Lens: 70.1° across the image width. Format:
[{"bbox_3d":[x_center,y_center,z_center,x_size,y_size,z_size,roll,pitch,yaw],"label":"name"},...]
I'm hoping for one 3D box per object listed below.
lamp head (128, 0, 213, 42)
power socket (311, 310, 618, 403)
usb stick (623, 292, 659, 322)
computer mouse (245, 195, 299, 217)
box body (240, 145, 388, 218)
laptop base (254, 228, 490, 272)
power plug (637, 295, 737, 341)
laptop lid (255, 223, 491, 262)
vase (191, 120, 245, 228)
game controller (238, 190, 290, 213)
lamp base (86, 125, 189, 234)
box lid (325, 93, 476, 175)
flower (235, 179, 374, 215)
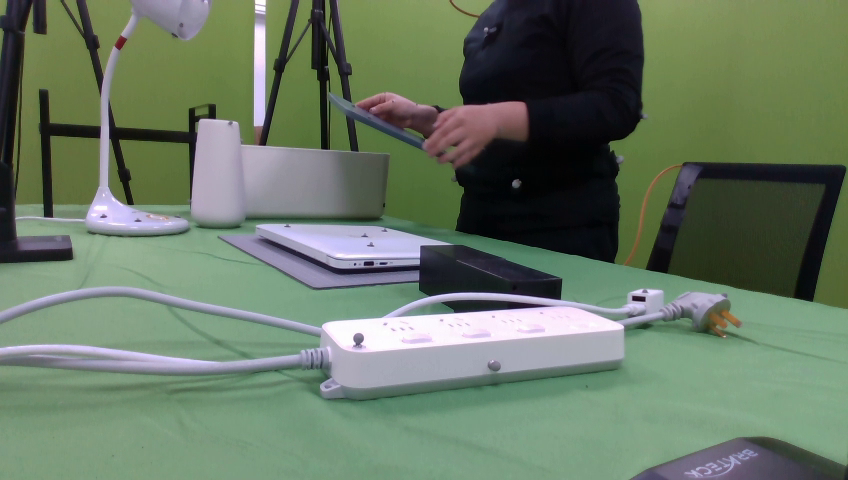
[{"bbox_3d":[-0.423,-0.394,0.980,0.123,0.112,0.112,20,7,-3],"label":"lamp head"},{"bbox_3d":[0.034,0.074,0.415,0.228,0.032,0.072,-1,7,-24],"label":"power socket"},{"bbox_3d":[0.211,0.064,0.581,0.021,0.027,0.059,0,-3,36],"label":"usb stick"},{"bbox_3d":[-0.345,-0.078,1.370,0.118,0.041,0.062,-13,18,-32],"label":"computer mouse"},{"bbox_3d":[-0.297,-0.143,1.474,0.366,0.160,0.253,-1,9,-30],"label":"box body"},{"bbox_3d":[-0.095,0.012,0.911,0.237,0.023,0.352,2,7,-32],"label":"laptop base"},{"bbox_3d":[0.235,0.078,0.536,0.072,0.035,0.052,-34,40,-5],"label":"power plug"},{"bbox_3d":[-0.093,0.000,0.911,0.243,0.013,0.355,1,7,-30],"label":"laptop lid"},{"bbox_3d":[-0.389,-0.124,1.142,0.098,0.200,0.098,3,9,0],"label":"vase"},{"bbox_3d":[-0.391,-0.094,1.465,0.097,0.051,0.154,-3,8,-29],"label":"game controller"},{"bbox_3d":[-0.497,-0.105,1.027,0.179,0.180,0.160,1,7,3],"label":"lamp base"},{"bbox_3d":[-0.059,-0.216,1.199,0.264,0.015,0.370,22,11,-21],"label":"box lid"},{"bbox_3d":[-0.267,-0.090,1.418,0.364,0.038,0.044,10,-40,-40],"label":"flower"}]
